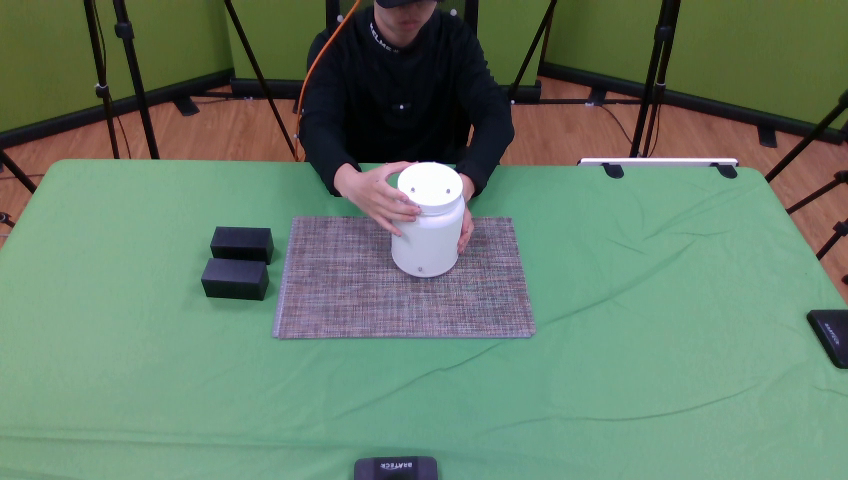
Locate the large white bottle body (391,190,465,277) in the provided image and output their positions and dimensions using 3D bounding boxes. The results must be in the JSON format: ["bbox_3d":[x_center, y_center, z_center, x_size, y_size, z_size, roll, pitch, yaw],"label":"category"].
[{"bbox_3d":[0.005,-0.035,1.114,0.131,0.185,0.130,2,46,-2],"label":"large white bottle body"}]

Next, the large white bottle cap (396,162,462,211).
[{"bbox_3d":[0.009,-0.094,1.052,0.115,0.018,0.114,2,46,-2],"label":"large white bottle cap"}]
